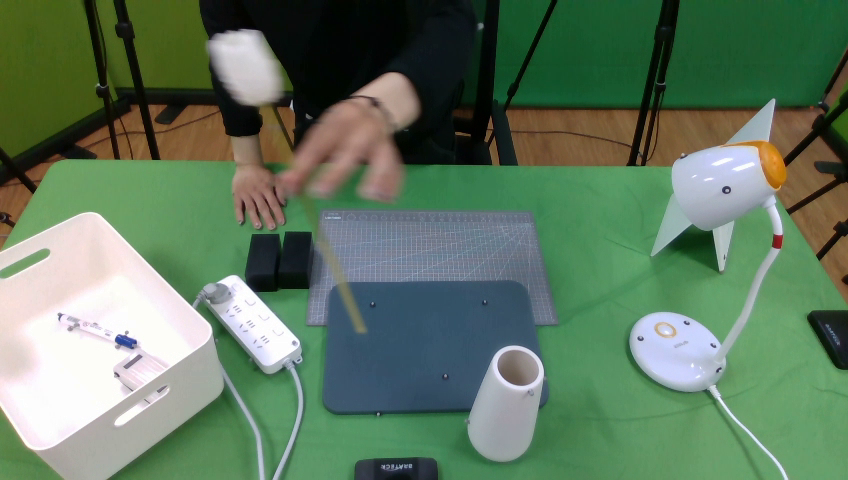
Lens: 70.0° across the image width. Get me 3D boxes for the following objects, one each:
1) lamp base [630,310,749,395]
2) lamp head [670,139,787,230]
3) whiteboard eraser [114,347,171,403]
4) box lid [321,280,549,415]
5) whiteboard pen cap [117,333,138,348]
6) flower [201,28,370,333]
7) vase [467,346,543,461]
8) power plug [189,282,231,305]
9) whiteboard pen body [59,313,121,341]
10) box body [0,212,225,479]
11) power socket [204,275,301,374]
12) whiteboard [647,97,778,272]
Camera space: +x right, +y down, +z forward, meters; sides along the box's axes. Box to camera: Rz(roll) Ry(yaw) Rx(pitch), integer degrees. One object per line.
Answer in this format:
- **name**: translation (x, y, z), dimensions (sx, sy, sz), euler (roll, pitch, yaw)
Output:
- **lamp base**: translation (0.447, 0.143, 0.984), dimensions (0.161, 0.181, 0.178), euler (-24, 55, -24)
- **lamp head**: translation (0.415, -0.078, 0.812), dimensions (0.113, 0.123, 0.112), euler (12, 70, -37)
- **whiteboard eraser**: translation (-0.420, 0.215, 0.936), dimensions (0.112, 0.042, 0.055), euler (25, 48, 22)
- **box lid**: translation (0.013, 0.174, 1.040), dimensions (0.372, 0.015, 0.261), euler (0, 47, -4)
- **whiteboard pen cap**: translation (-0.489, 0.165, 0.997), dimensions (0.033, 0.018, 0.018), euler (17, 48, 10)
- **flower**: translation (-0.114, -0.029, 0.586), dimensions (0.038, 0.364, 0.044), euler (-34, 40, -17)
- **vase**: translation (0.115, 0.235, 0.861), dimensions (0.098, 0.201, 0.097), euler (1, 47, -1)
- **power plug**: translation (-0.368, 0.097, 1.039), dimensions (0.072, 0.053, 0.035), euler (-27, 55, -21)
- **whiteboard pen body**: translation (-0.544, 0.148, 1.008), dimensions (0.140, 0.017, 0.017), euler (17, 47, 9)
- **box body**: translation (-0.506, 0.155, 0.915), dimensions (0.362, 0.161, 0.254), euler (35, 54, 26)
- **power socket**: translation (-0.296, 0.140, 1.035), dimensions (0.072, 0.033, 0.225), euler (-33, 57, -29)
- **whiteboard**: translation (0.602, -0.079, 1.162), dimensions (0.144, 0.306, 0.216), euler (35, 51, 2)
